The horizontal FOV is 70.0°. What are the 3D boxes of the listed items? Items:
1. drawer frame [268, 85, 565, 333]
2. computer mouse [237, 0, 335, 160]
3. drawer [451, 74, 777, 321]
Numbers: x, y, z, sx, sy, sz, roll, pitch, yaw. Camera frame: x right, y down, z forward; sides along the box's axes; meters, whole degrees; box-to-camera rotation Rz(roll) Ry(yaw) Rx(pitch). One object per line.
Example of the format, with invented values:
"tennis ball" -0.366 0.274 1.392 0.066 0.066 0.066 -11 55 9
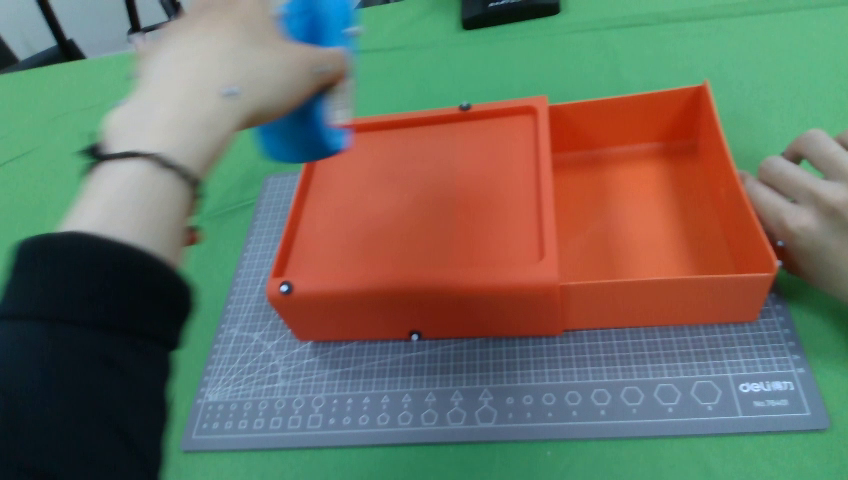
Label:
"drawer frame" 0.006 -0.026 0.498 0.213 0.083 0.200 -4 52 12
"computer mouse" -0.094 -0.114 0.413 0.062 0.041 0.117 1 86 29
"drawer" 0.132 -0.034 0.474 0.211 0.074 0.192 -4 52 11
